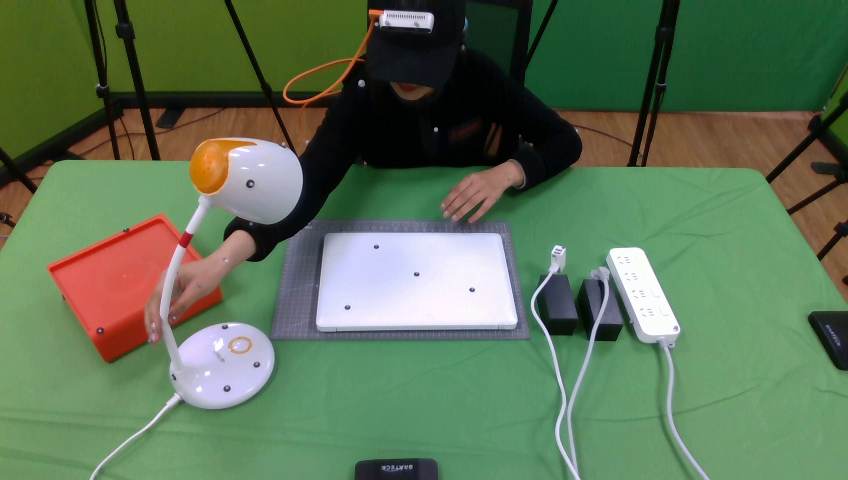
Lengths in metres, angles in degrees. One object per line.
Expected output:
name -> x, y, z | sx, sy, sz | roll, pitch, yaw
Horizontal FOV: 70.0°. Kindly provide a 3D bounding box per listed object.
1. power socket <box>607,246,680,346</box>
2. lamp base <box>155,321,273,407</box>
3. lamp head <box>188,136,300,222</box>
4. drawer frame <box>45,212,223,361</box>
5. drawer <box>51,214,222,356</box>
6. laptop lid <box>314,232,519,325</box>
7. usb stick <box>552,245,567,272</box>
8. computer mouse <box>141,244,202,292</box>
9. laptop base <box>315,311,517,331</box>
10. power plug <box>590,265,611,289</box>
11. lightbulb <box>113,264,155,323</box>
power socket -> 0.403, 0.096, 1.123 | 0.072, 0.033, 0.225 | -2, 46, -5
lamp base -> -0.328, 0.151, 0.916 | 0.160, 0.181, 0.179 | 29, 53, 22
lamp head -> -0.240, -0.081, 0.773 | 0.112, 0.112, 0.123 | 35, 15, 26
drawer frame -> -0.496, 0.073, 1.049 | 0.213, 0.083, 0.200 | -33, 56, -29
drawer -> -0.495, 0.072, 1.053 | 0.212, 0.073, 0.193 | -32, 57, -29
laptop lid -> -0.015, 0.065, 1.118 | 0.357, 0.013, 0.240 | 1, 43, -3
usb stick -> 0.251, 0.039, 1.123 | 0.021, 0.059, 0.027 | 14, 48, 25
computer mouse -> -0.460, 0.045, 1.099 | 0.116, 0.041, 0.063 | 30, 52, 29
laptop base -> -0.016, 0.075, 1.124 | 0.355, 0.023, 0.234 | 0, 42, -4
power plug -> 0.318, 0.074, 1.108 | 0.035, 0.053, 0.072 | 26, 33, 13
lightbulb -> -0.494, 0.091, 1.045 | 0.059, 0.060, 0.107 | 9, 62, 5
